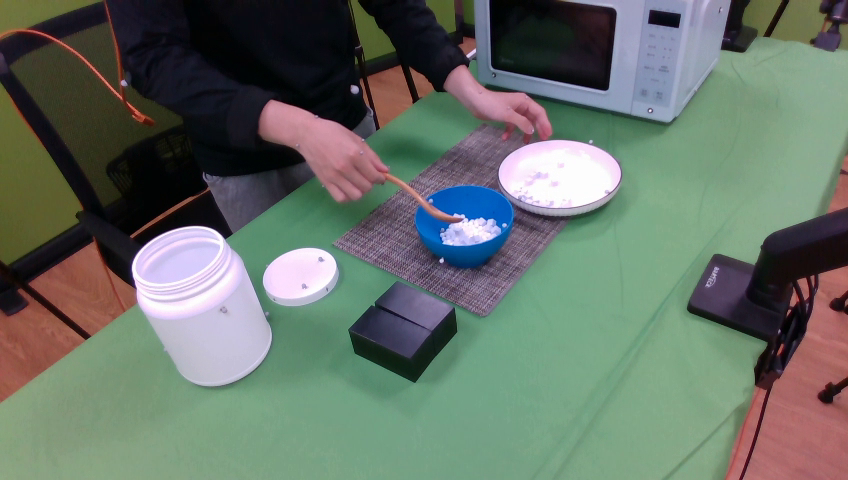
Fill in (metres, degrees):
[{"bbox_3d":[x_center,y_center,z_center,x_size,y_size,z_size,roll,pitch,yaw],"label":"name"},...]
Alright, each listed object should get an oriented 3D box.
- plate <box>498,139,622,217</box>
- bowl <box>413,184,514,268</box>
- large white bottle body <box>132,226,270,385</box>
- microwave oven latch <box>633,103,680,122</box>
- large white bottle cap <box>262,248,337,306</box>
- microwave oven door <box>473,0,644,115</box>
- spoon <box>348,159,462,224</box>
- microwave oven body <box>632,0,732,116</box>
[{"bbox_3d":[0.231,-0.103,1.038,0.209,0.038,0.208,-4,41,4],"label":"plate"},{"bbox_3d":[0.063,-0.010,0.922,0.151,0.077,0.150,-4,40,4],"label":"bowl"},{"bbox_3d":[-0.286,0.085,0.783,0.130,0.185,0.130,-4,41,4],"label":"large white bottle body"},{"bbox_3d":[0.443,-0.249,1.157,0.078,0.029,0.030,21,48,30],"label":"microwave oven latch"},{"bbox_3d":[-0.193,0.056,0.934,0.115,0.018,0.114,-4,41,4],"label":"large white bottle cap"},{"bbox_3d":[0.257,-0.396,1.199,0.353,0.245,0.039,21,48,29],"label":"microwave oven door"},{"bbox_3d":[-0.030,-0.071,0.867,0.193,0.021,0.042,34,22,13],"label":"spoon"},{"bbox_3d":[0.377,-0.462,1.267,0.438,0.261,0.327,21,49,30],"label":"microwave oven body"}]
